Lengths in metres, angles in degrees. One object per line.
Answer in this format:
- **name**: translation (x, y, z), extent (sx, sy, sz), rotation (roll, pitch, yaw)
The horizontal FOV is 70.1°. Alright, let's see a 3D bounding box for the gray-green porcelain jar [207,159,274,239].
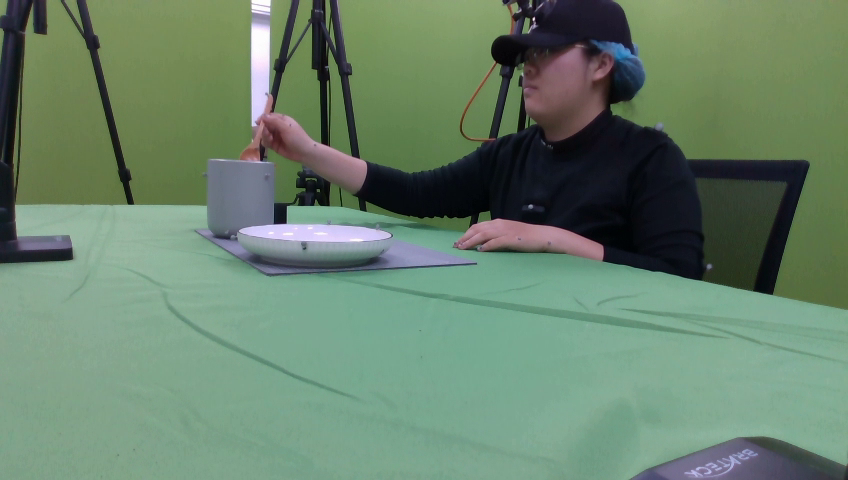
- **gray-green porcelain jar**: translation (-0.304, -0.068, 1.004), extent (0.106, 0.126, 0.106), rotation (3, 7, 0)

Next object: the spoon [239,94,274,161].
- **spoon**: translation (-0.328, -0.219, 1.213), extent (0.042, 0.193, 0.021), rotation (25, -29, -25)

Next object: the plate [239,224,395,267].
- **plate**: translation (-0.144, 0.007, 0.823), extent (0.208, 0.039, 0.207), rotation (3, 7, 0)
